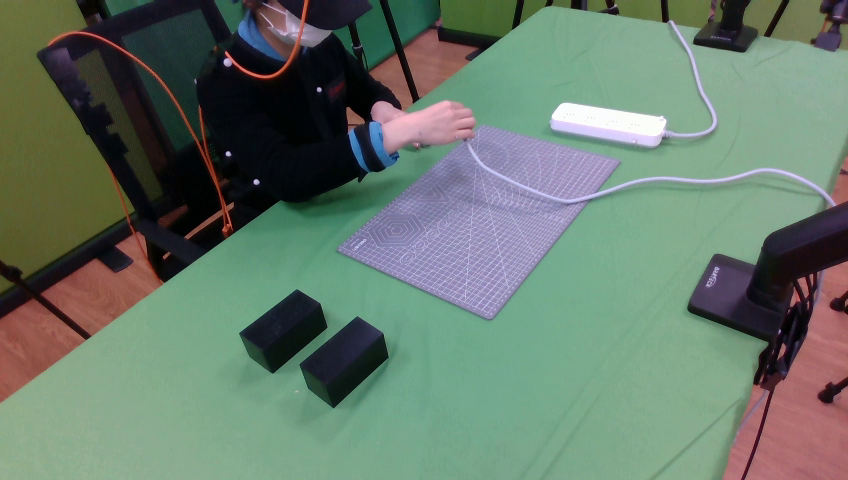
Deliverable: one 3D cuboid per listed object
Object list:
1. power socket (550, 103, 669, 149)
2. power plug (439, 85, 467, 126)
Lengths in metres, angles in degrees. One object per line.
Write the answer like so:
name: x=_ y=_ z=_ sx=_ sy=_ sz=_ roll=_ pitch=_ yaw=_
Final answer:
power socket: x=0.353 y=-0.223 z=1.169 sx=0.225 sy=0.033 sz=0.072 roll=17 pitch=47 yaw=25
power plug: x=0.053 y=-0.243 z=1.110 sx=0.052 sy=0.073 sz=0.035 roll=9 pitch=48 yaw=14
